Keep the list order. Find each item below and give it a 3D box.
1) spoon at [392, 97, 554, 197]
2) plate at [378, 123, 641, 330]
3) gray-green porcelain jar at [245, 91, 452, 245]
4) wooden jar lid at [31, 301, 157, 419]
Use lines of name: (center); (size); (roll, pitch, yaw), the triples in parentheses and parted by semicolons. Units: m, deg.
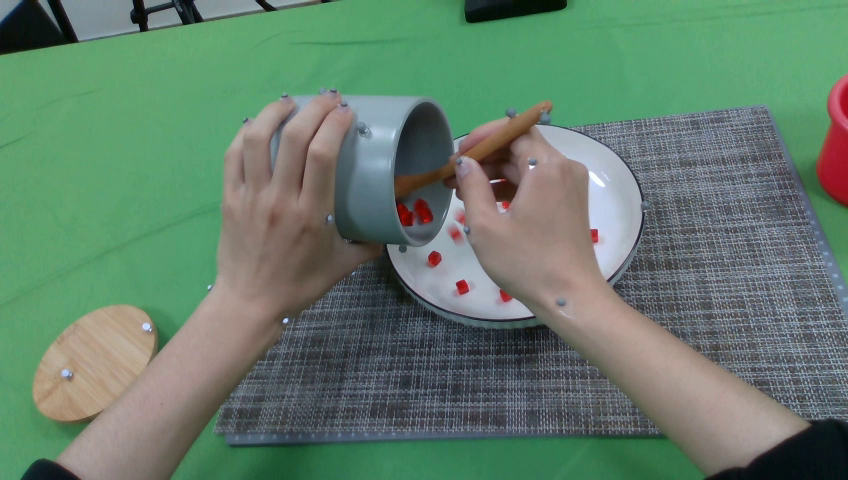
spoon: (0.012, -0.051, 0.409); (0.193, 0.022, 0.041); (-20, 34, 43)
plate: (0.067, -0.013, 0.496); (0.207, 0.039, 0.205); (-7, 51, 9)
gray-green porcelain jar: (-0.056, -0.055, 0.446); (0.126, 0.107, 0.105); (8, 55, 23)
wooden jar lid: (-0.274, 0.101, 0.512); (0.108, 0.021, 0.107); (-6, 51, 8)
